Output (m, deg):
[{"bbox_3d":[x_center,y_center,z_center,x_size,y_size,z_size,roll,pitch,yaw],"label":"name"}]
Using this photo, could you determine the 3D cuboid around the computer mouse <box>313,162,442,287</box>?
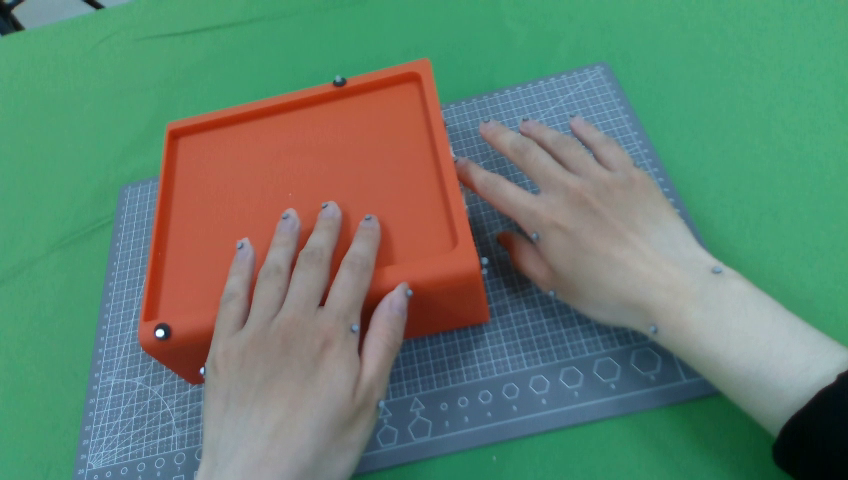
[{"bbox_3d":[-0.033,-0.018,0.442,0.062,0.041,0.116,7,50,25],"label":"computer mouse"}]

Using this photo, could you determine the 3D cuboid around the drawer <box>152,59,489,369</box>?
[{"bbox_3d":[-0.071,-0.023,0.438,0.212,0.074,0.192,-12,56,4],"label":"drawer"}]

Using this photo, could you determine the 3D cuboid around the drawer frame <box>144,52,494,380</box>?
[{"bbox_3d":[-0.072,-0.021,0.438,0.213,0.083,0.199,-14,56,4],"label":"drawer frame"}]
